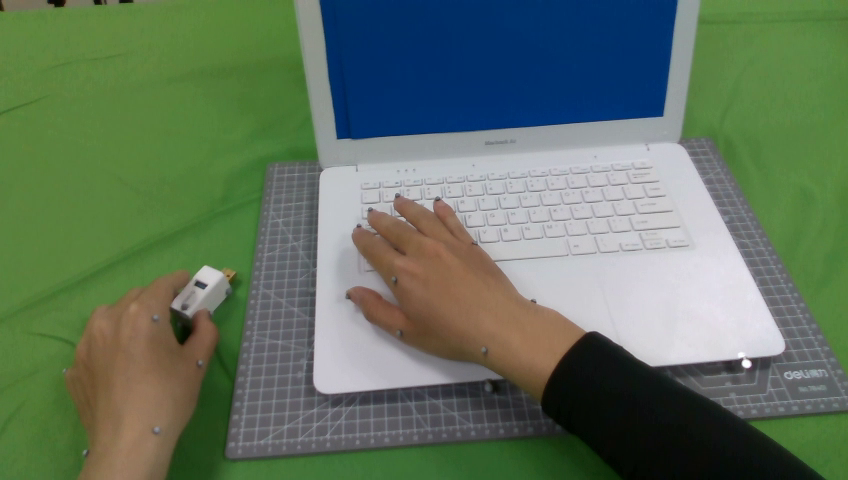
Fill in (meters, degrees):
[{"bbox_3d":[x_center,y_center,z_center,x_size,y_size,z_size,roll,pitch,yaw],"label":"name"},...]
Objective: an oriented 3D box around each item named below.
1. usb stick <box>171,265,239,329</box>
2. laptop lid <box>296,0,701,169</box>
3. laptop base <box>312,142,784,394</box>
[{"bbox_3d":[-0.174,0.041,0.491,0.021,0.027,0.059,17,51,21],"label":"usb stick"},{"bbox_3d":[0.070,-0.181,0.534,0.357,0.243,0.013,-6,29,-2],"label":"laptop lid"},{"bbox_3d":[0.085,0.011,0.516,0.355,0.023,0.233,-4,53,-3],"label":"laptop base"}]
